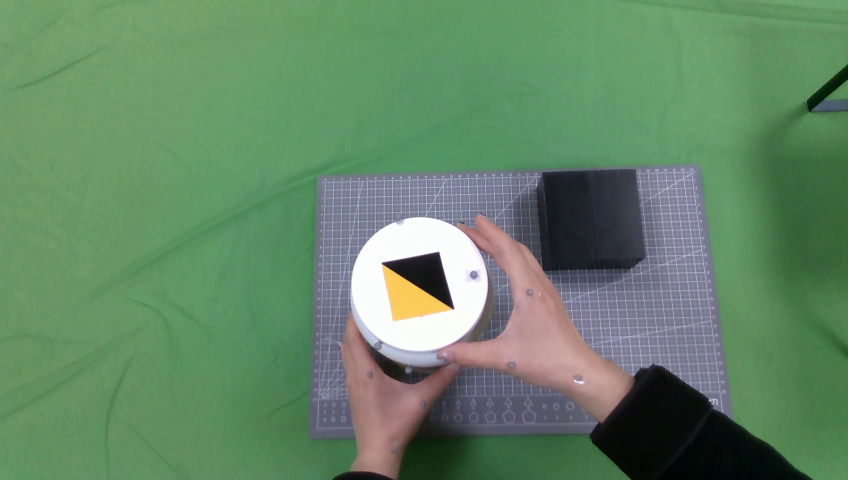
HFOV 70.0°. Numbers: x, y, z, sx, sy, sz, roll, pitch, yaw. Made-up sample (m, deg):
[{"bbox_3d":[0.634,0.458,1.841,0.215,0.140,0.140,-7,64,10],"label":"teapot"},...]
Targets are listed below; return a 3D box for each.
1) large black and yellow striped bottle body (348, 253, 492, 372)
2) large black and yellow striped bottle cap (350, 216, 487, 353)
[{"bbox_3d":[-0.002,0.058,0.588,0.131,0.185,0.130,0,75,2],"label":"large black and yellow striped bottle body"},{"bbox_3d":[-0.004,0.036,0.507,0.115,0.019,0.114,-1,76,3],"label":"large black and yellow striped bottle cap"}]
